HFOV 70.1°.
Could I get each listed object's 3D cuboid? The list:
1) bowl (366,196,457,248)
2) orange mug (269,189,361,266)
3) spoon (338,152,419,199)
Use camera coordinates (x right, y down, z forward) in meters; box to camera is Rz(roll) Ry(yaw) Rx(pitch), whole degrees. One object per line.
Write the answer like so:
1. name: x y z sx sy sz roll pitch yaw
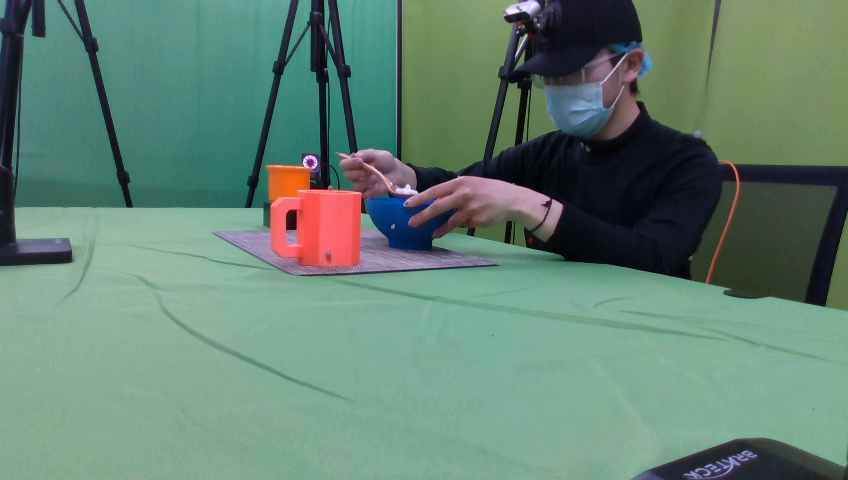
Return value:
1. bowl: -0.022 -0.029 1.000 0.151 0.077 0.151 2 7 0
2. orange mug: -0.142 -0.019 0.796 0.127 0.100 0.083 3 5 -39
3. spoon: -0.082 -0.112 1.021 0.193 0.021 0.042 37 30 32
